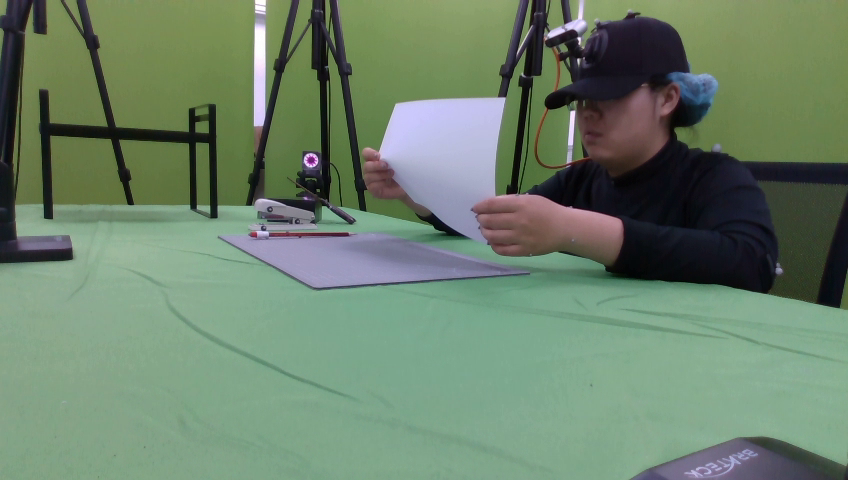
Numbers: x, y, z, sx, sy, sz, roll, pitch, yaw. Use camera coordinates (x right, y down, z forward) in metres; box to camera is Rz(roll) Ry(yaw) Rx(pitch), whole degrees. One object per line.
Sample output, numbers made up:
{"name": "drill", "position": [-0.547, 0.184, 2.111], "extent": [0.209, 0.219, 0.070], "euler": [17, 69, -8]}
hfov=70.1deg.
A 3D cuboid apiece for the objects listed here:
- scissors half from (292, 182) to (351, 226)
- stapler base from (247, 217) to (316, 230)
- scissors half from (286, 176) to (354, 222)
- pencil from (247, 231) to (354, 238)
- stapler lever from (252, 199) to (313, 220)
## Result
{"name": "scissors half", "position": [-0.232, -0.085, 1.317], "extent": [0.175, 0.013, 0.040], "euler": [38, 20, 4]}
{"name": "stapler base", "position": [-0.276, -0.033, 1.172], "extent": [0.131, 0.024, 0.041], "euler": [0, 10, -37]}
{"name": "scissors half", "position": [-0.229, -0.091, 1.337], "extent": [0.175, 0.013, 0.040], "euler": [33, 15, -13]}
{"name": "pencil", "position": [-0.206, -0.009, 1.039], "extent": [0.195, 0.012, 0.012], "euler": [0, 8, -36]}
{"name": "stapler lever", "position": [-0.273, -0.058, 1.170], "extent": [0.119, 0.040, 0.026], "euler": [0, 10, -37]}
